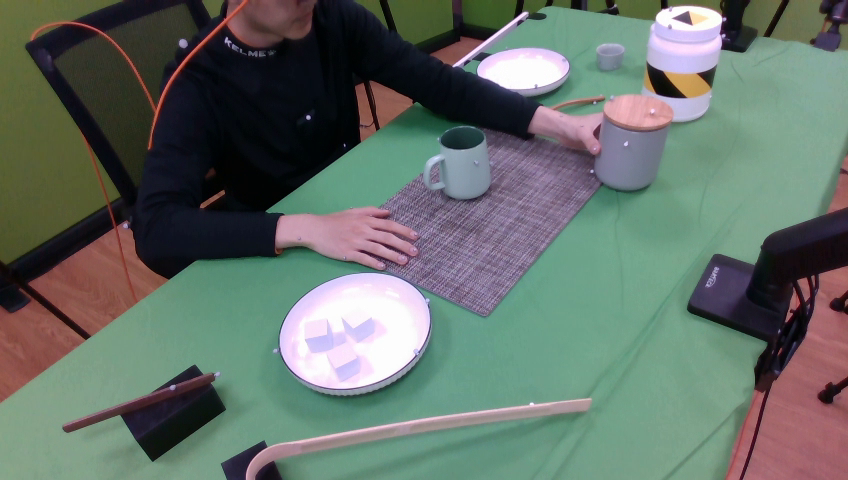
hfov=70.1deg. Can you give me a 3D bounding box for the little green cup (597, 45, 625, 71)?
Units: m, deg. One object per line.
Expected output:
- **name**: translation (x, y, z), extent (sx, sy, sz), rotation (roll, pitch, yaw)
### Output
- **little green cup**: translation (0.423, -0.413, 1.375), extent (0.061, 0.039, 0.061), rotation (-3, 41, 3)

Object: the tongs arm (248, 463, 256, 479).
- **tongs arm**: translation (0.012, 0.262, 0.614), extent (0.385, 0.026, 0.050), rotation (2, 42, -2)

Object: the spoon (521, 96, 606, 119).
- **spoon**: translation (0.291, -0.276, 1.249), extent (0.194, 0.022, 0.041), rotation (-18, 22, -11)

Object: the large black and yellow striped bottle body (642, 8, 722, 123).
- **large black and yellow striped bottle body**: translation (0.493, -0.334, 1.161), extent (0.131, 0.185, 0.130), rotation (-4, 41, 4)

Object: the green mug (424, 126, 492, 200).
- **green mug**: translation (0.056, -0.125, 1.039), extent (0.126, 0.105, 0.091), rotation (-26, 44, -20)

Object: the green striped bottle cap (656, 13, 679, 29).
- **green striped bottle cap**: translation (0.515, -0.463, 1.278), extent (0.044, 0.020, 0.044), rotation (-6, 42, 6)

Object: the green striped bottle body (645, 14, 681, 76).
- **green striped bottle body**: translation (0.520, -0.424, 1.312), extent (0.063, 0.120, 0.063), rotation (-4, 41, 4)

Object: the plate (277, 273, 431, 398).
- **plate**: translation (-0.091, 0.129, 0.821), extent (0.207, 0.039, 0.206), rotation (-4, 40, 4)

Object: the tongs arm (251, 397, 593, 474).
- **tongs arm**: translation (0.008, 0.212, 0.675), extent (0.389, 0.028, 0.028), rotation (-5, 46, -11)

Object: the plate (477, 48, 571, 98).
- **plate**: translation (0.223, -0.371, 1.357), extent (0.209, 0.038, 0.208), rotation (-4, 41, 4)

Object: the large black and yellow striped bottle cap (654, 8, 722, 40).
- **large black and yellow striped bottle cap**: translation (0.483, -0.397, 1.108), extent (0.115, 0.019, 0.114), rotation (-3, 41, 3)

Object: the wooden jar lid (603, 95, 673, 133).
- **wooden jar lid**: translation (0.343, -0.200, 0.973), extent (0.108, 0.021, 0.108), rotation (-2, 39, 2)

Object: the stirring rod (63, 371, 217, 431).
- **stirring rod**: translation (-0.337, 0.192, 0.723), extent (0.177, 0.014, 0.005), rotation (-18, 43, -12)

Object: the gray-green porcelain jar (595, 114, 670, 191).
- **gray-green porcelain jar**: translation (0.346, -0.155, 1.017), extent (0.106, 0.127, 0.105), rotation (-2, 44, 2)
